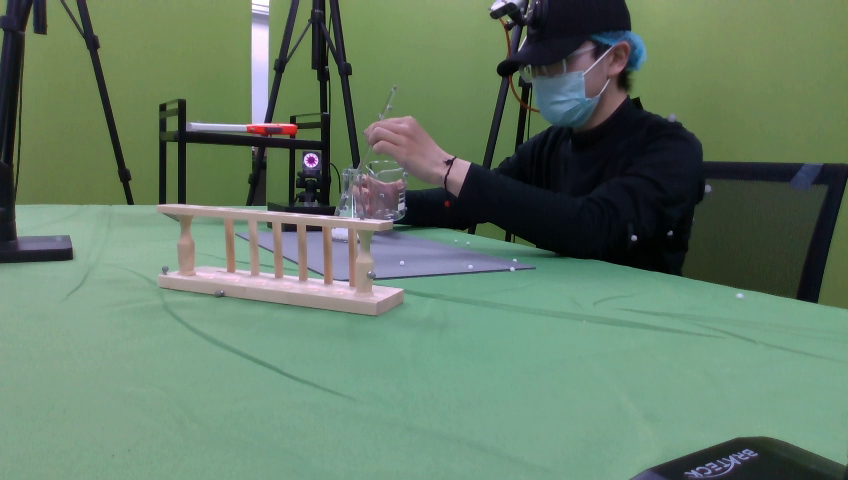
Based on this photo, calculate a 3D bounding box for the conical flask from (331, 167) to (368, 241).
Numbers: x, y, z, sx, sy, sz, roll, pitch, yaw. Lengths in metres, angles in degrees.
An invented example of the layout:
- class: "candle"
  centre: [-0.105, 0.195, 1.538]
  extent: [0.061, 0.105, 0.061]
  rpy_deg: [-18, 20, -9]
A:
- class: "conical flask"
  centre: [-0.123, -0.061, 1.019]
  extent: [0.075, 0.122, 0.075]
  rpy_deg: [3, 7, 0]

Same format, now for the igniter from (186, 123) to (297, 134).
- class: "igniter"
  centre: [-0.392, -0.248, 1.341]
  extent: [0.057, 0.025, 0.278]
  rpy_deg: [9, 14, 38]

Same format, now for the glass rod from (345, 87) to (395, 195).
- class: "glass rod"
  centre: [-0.090, -0.160, 0.997]
  extent: [0.008, 0.199, 0.008]
  rpy_deg: [24, 20, -9]

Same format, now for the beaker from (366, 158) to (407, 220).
- class: "beaker"
  centre: [-0.069, -0.090, 1.098]
  extent: [0.074, 0.100, 0.084]
  rpy_deg: [8, 23, 20]

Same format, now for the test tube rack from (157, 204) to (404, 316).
- class: "test tube rack"
  centre: [-0.143, 0.013, 0.599]
  extent: [0.242, 0.085, 0.067]
  rpy_deg: [5, 8, 19]
